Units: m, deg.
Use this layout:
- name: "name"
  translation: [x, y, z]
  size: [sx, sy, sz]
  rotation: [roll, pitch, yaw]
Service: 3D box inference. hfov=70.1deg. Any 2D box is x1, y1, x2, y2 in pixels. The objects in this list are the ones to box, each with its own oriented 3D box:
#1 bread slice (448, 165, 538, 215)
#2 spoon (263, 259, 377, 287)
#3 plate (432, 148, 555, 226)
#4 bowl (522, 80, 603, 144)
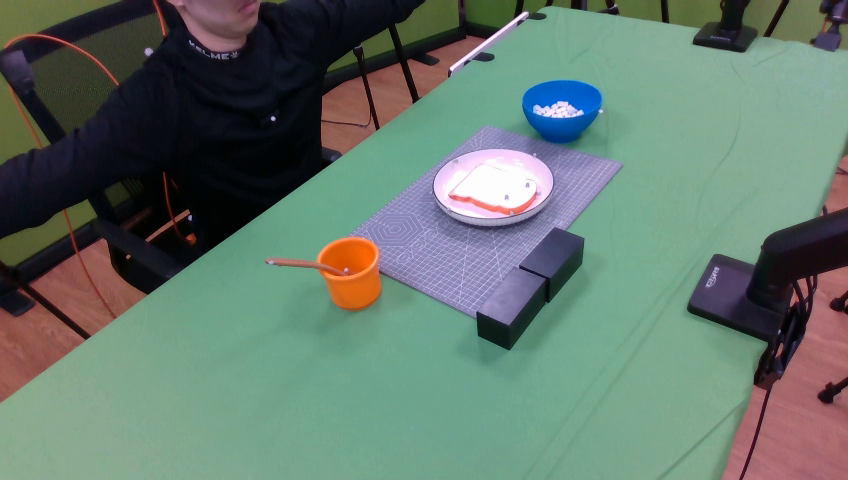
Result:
- name: "bread slice"
  translation: [0.126, -0.085, 1.038]
  size: [0.133, 0.018, 0.107]
  rotation: [16, 45, 27]
- name: "spoon"
  translation: [-0.140, 0.042, 0.843]
  size: [0.041, 0.195, 0.021]
  rotation: [35, 101, 41]
- name: "plate"
  translation: [0.119, -0.087, 1.037]
  size: [0.209, 0.038, 0.208]
  rotation: [-4, 40, 4]
- name: "bowl"
  translation: [0.264, -0.239, 1.166]
  size: [0.151, 0.077, 0.150]
  rotation: [-4, 41, 4]
